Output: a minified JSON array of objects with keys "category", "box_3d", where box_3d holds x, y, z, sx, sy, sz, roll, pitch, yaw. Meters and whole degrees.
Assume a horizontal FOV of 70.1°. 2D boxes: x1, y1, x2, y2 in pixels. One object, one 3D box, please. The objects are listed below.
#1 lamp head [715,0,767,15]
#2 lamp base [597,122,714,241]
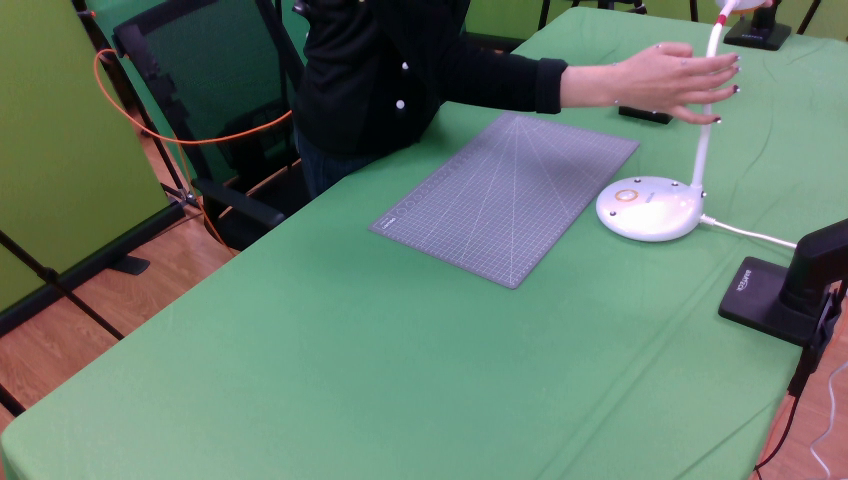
[{"category":"lamp head","box_3d":[0.446,-0.381,0.848,0.112,0.123,0.112,-13,38,11]},{"category":"lamp base","box_3d":[0.363,-0.109,0.921,0.178,0.181,0.160,13,45,21]}]
